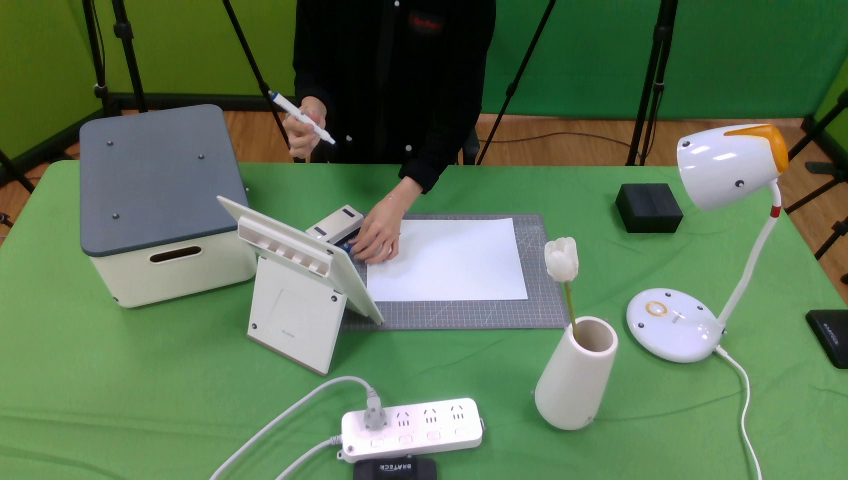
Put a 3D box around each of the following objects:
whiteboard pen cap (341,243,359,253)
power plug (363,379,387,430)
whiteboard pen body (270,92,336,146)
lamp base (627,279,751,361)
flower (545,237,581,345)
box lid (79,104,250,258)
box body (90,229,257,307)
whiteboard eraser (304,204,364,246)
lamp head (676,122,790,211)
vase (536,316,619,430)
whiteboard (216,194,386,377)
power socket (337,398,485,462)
[{"bbox_3d":[-0.141,0.016,1.151,0.033,0.018,0.018,-8,41,24],"label":"whiteboard pen cap"},{"bbox_3d":[-0.072,0.252,0.911,0.035,0.053,0.072,3,40,0],"label":"power plug"},{"bbox_3d":[-0.205,-0.206,1.044,0.141,0.017,0.017,37,36,-31],"label":"whiteboard pen body"},{"bbox_3d":[0.460,0.100,1.027,0.178,0.181,0.160,27,51,17],"label":"lamp base"},{"bbox_3d":[0.213,0.137,0.846,0.038,0.364,0.044,21,55,40],"label":"flower"},{"bbox_3d":[-0.467,-0.120,1.075,0.264,0.015,0.369,-13,49,-17],"label":"box lid"},{"bbox_3d":[-0.471,-0.070,1.131,0.254,0.161,0.361,-14,49,-17],"label":"box body"},{"bbox_3d":[-0.175,-0.022,1.188,0.055,0.042,0.112,36,53,26],"label":"whiteboard eraser"},{"bbox_3d":[0.423,-0.104,0.819,0.122,0.113,0.112,-13,33,40],"label":"lamp head"},{"bbox_3d":[0.229,0.200,0.901,0.098,0.201,0.097,3,46,-3],"label":"vase"},{"bbox_3d":[-0.212,0.093,0.939,0.216,0.307,0.143,24,70,17],"label":"whiteboard"},{"bbox_3d":[-0.018,0.285,0.914,0.227,0.033,0.071,-4,46,-8],"label":"power socket"}]
